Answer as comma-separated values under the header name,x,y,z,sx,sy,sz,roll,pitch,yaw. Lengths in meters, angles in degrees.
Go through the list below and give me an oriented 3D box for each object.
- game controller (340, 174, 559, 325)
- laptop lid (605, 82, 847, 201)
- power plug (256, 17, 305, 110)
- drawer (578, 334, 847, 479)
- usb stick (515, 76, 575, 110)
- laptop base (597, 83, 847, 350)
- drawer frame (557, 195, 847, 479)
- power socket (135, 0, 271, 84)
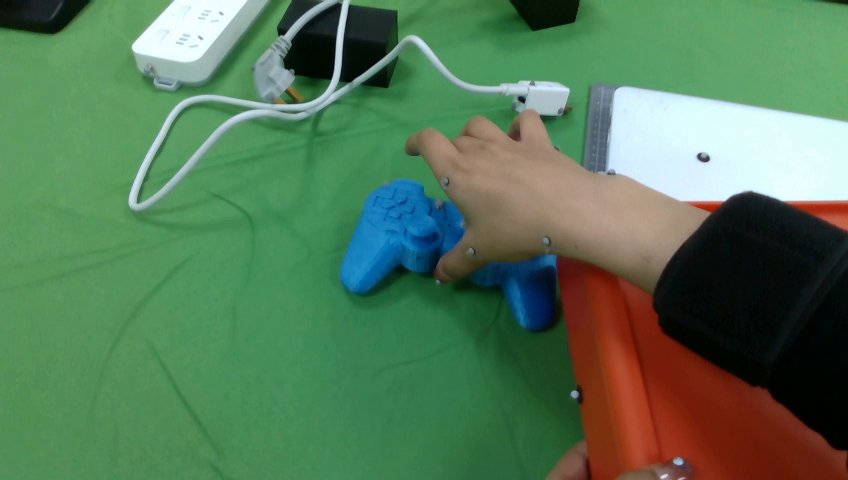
name,x,y,z,sx,sy,sz,roll,pitch,yaw
game controller,0.023,-0.001,0.440,0.155,0.052,0.096,12,51,6
laptop lid,0.318,-0.017,0.465,0.356,0.013,0.240,13,57,7
power plug,-0.115,-0.153,0.534,0.072,0.053,0.035,-42,30,4
drawer,0.192,0.154,0.301,0.195,0.074,0.209,1,56,-2
usb stick,0.112,-0.132,0.545,0.059,0.027,0.021,-2,30,-30
laptop base,0.318,-0.012,0.476,0.354,0.023,0.234,12,57,6
drawer frame,0.191,0.083,0.342,0.202,0.083,0.211,-1,57,-2
power socket,-0.206,-0.241,0.614,0.072,0.033,0.225,15,54,7
